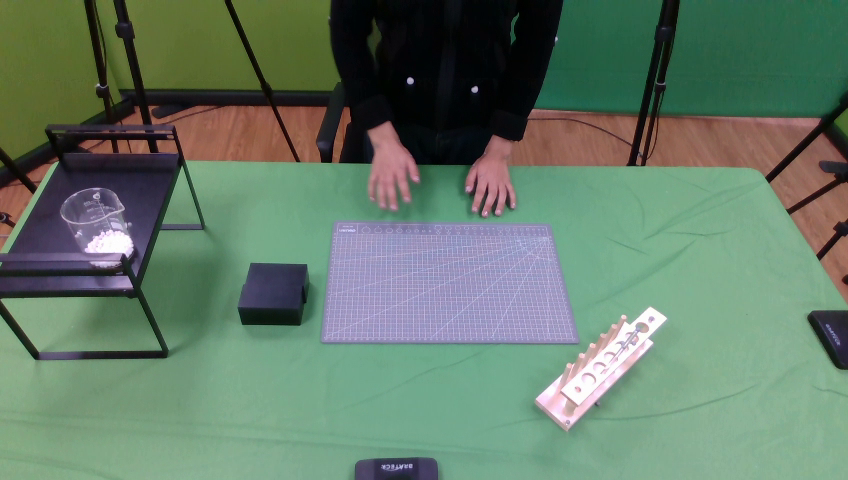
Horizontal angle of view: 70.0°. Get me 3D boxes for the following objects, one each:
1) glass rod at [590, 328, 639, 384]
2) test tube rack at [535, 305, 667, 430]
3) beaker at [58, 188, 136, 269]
[{"bbox_3d":[0.279,0.182,0.902,0.008,0.200,0.008,4,52,-6],"label":"glass rod"},{"bbox_3d":[0.290,0.193,0.984,0.242,0.085,0.066,-32,57,-30],"label":"test tube rack"},{"bbox_3d":[-0.462,-0.014,0.871,0.084,0.101,0.073,-1,47,-5],"label":"beaker"}]
